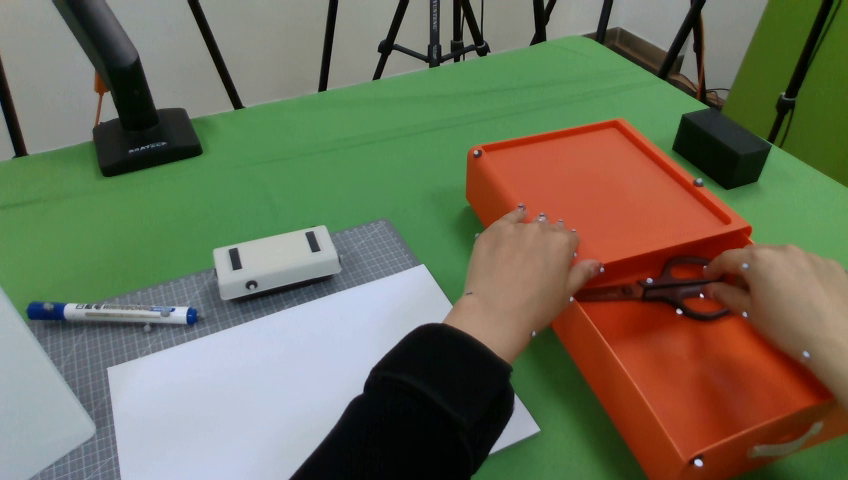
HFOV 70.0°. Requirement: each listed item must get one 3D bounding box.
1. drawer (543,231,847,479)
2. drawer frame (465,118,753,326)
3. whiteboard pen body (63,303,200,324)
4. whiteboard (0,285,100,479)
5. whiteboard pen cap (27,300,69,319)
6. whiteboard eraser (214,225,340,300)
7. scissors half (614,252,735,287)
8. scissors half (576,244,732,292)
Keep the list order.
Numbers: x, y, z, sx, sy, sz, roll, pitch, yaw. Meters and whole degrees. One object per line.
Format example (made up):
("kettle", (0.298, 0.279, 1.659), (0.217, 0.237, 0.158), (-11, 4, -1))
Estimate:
("drawer", (0.227, 0.080, 0.505), (0.195, 0.074, 0.209), (-13, 43, -14))
("drawer frame", (0.173, -0.028, 0.622), (0.202, 0.083, 0.211), (-14, 42, -15))
("whiteboard pen body", (-0.277, 0.066, 0.549), (0.141, 0.017, 0.017), (2, 41, -3))
("whiteboard", (-0.406, 0.058, 0.387), (0.217, 0.308, 0.142), (-35, 33, -33))
("whiteboard pen cap", (-0.336, 0.063, 0.546), (0.033, 0.018, 0.018), (2, 40, -5))
("whiteboard eraser", (-0.142, 0.023, 0.586), (0.113, 0.042, 0.055), (-14, 41, -16))
("scissors half", (0.208, 0.032, 0.592), (0.175, 0.040, 0.012), (-5, 38, 16))
("scissors half", (0.212, 0.041, 0.599), (0.175, 0.040, 0.012), (-18, 39, 28))
